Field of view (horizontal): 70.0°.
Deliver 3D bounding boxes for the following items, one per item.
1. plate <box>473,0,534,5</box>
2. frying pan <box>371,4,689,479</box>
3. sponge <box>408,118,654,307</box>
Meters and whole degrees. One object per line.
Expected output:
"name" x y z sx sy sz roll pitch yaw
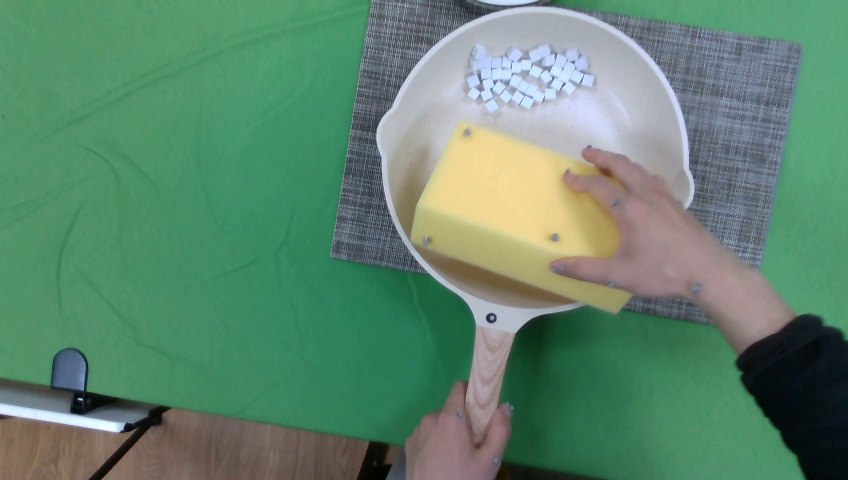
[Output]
"plate" 0.084 -0.343 0.621 0.207 0.039 0.207 0 92 3
"frying pan" 0.079 0.022 0.598 0.307 0.103 0.486 13 84 3
"sponge" 0.102 -0.029 0.578 0.206 0.061 0.117 18 56 5
